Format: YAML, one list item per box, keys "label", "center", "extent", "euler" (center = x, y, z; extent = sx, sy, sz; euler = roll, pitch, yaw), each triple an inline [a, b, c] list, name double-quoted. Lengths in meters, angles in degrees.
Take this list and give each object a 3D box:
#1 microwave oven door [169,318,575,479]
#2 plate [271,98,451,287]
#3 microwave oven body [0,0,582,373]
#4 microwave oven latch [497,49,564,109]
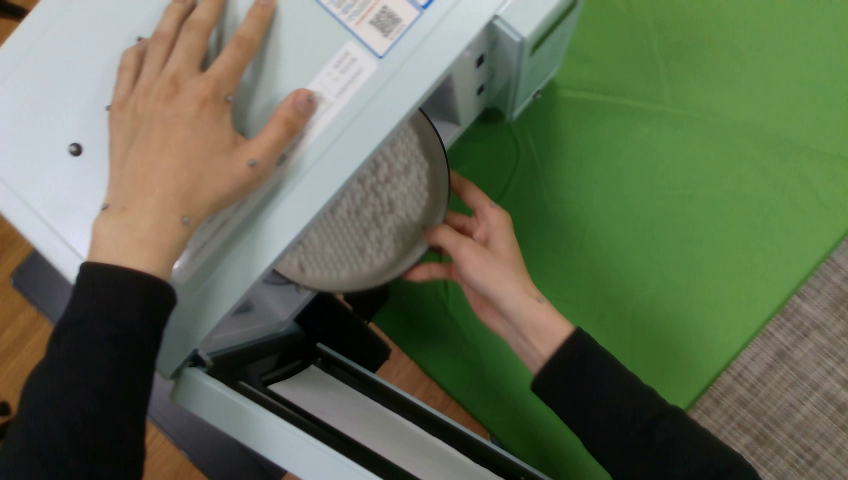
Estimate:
- label: "microwave oven door"
  center: [-0.015, 0.183, 0.540]
  extent: [0.355, 0.244, 0.039]
  euler: [28, 92, 5]
- label: "plate"
  center: [-0.076, -0.059, 0.581]
  extent: [0.209, 0.038, 0.209]
  euler: [0, 88, 7]
- label: "microwave oven body"
  center: [-0.126, -0.150, 0.562]
  extent: [0.325, 0.260, 0.441]
  euler: [43, 93, 5]
- label: "microwave oven latch"
  center: [0.111, -0.177, 0.638]
  extent: [0.079, 0.029, 0.030]
  euler: [-45, 86, 3]
